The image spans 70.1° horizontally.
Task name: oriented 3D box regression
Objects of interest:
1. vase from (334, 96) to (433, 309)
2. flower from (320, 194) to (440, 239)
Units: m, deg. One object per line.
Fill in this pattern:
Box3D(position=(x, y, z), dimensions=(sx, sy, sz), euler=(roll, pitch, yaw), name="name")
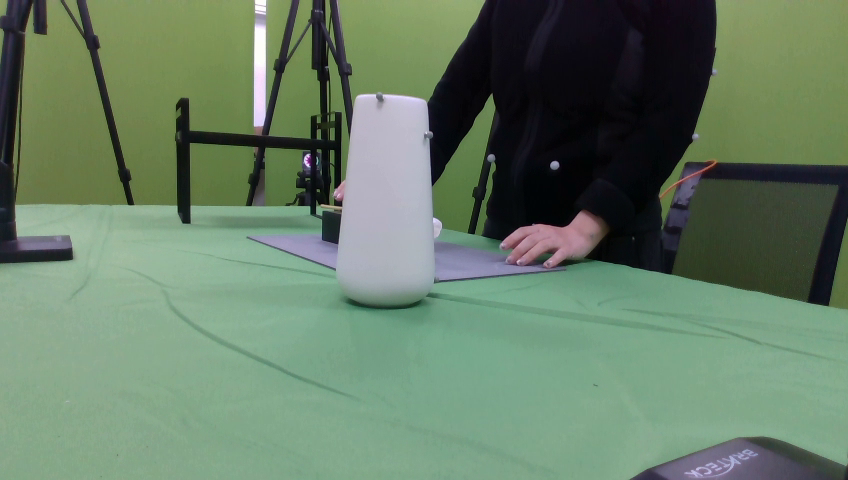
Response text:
Box3D(position=(-0.039, -0.036, 0.590), dimensions=(0.098, 0.200, 0.098), euler=(1, 8, 0), name="vase")
Box3D(position=(-0.088, -0.046, 0.944), dimensions=(0.044, 0.038, 0.360), euler=(-38, 29, -20), name="flower")
